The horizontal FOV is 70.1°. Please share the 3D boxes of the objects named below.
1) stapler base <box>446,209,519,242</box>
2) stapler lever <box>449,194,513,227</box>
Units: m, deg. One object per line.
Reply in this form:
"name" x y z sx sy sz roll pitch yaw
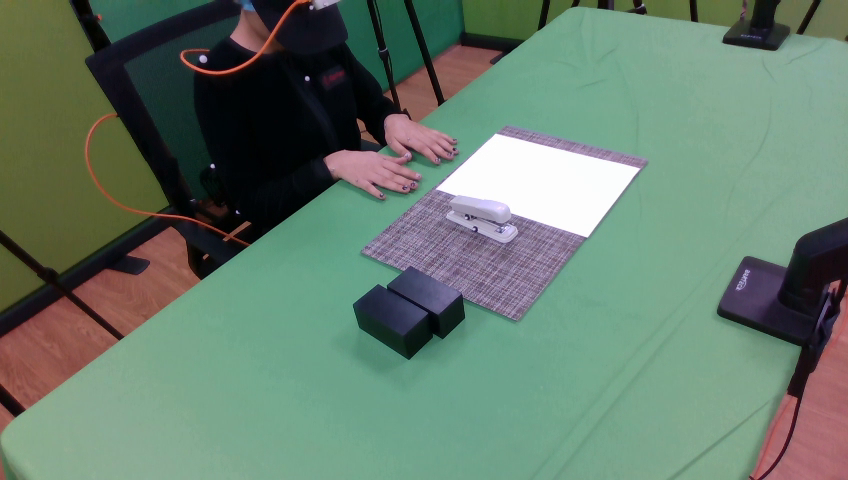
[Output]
"stapler base" 0.096 -0.035 1.000 0.129 0.024 0.041 24 47 35
"stapler lever" 0.092 -0.054 0.985 0.117 0.040 0.027 25 48 35
